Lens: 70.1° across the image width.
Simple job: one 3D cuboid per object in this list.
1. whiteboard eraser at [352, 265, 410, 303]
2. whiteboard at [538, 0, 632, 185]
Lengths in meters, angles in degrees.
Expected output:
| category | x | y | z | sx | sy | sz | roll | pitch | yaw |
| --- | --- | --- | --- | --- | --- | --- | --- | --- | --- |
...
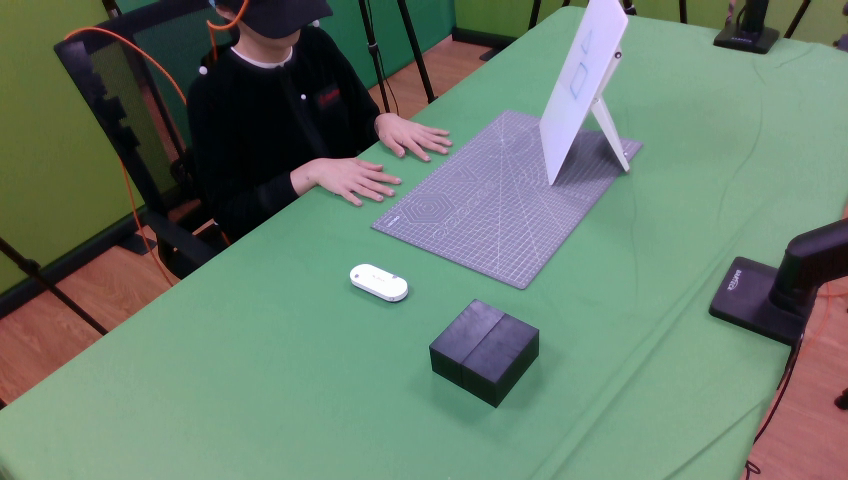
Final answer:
| category | x | y | z | sx | sy | sz | roll | pitch | yaw |
| --- | --- | --- | --- | --- | --- | --- | --- | --- | --- |
| whiteboard eraser | -0.066 | 0.065 | 0.914 | 0.100 | 0.019 | 0.041 | 21 | 49 | 31 |
| whiteboard | 0.327 | -0.259 | 1.055 | 0.144 | 0.305 | 0.216 | 13 | 40 | -6 |
